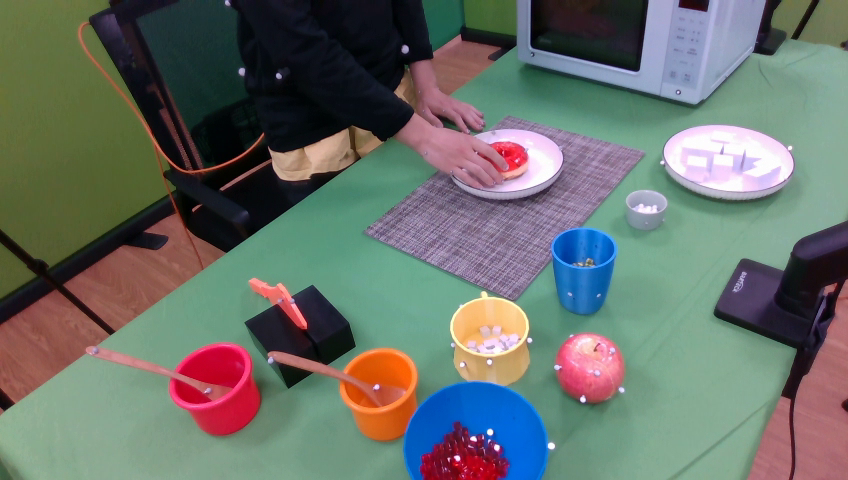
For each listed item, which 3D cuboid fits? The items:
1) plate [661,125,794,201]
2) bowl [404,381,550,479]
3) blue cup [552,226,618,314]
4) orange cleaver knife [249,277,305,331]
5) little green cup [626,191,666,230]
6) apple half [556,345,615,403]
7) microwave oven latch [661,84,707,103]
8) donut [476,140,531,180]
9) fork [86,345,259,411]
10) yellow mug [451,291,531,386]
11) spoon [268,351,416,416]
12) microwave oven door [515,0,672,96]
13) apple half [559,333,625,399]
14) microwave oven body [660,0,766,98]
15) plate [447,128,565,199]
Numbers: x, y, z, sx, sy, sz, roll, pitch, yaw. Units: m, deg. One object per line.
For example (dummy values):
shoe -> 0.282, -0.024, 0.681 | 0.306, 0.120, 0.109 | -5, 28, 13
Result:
plate -> 0.513, -0.128, 1.035 | 0.207, 0.039, 0.206 | -4, 40, 4
bowl -> 0.058, 0.235, 0.645 | 0.151, 0.077, 0.150 | -4, 39, 4
blue cup -> 0.218, 0.047, 0.826 | 0.092, 0.101, 0.092 | -6, 40, 5
orange cleaver knife -> -0.210, 0.088, 0.855 | 0.012, 0.077, 0.210 | -28, 15, -25
little green cup -> 0.352, -0.046, 0.963 | 0.061, 0.039, 0.061 | -4, 40, 4
apple half -> 0.181, 0.167, 0.709 | 0.080, 0.081, 0.033 | 29, 49, 35
microwave oven latch -> 0.517, -0.296, 1.204 | 0.078, 0.029, 0.030 | 27, 52, 35
donut -> 0.142, -0.145, 1.088 | 0.099, 0.048, 0.098 | -4, 39, 3
fork -> -0.298, 0.166, 0.728 | 0.209, 0.018, 0.028 | 28, 47, -23
yellow mug -> 0.085, 0.120, 0.786 | 0.100, 0.064, 0.130 | -7, 39, 1
spoon -> -0.090, 0.162, 0.699 | 0.021, 0.195, 0.041 | -44, 31, 27
microwave oven door -> 0.343, -0.455, 1.259 | 0.353, 0.245, 0.039 | 26, 51, 33
apple half -> 0.209, 0.147, 0.730 | 0.080, 0.075, 0.053 | 26, 48, 38
microwave oven body -> 0.472, -0.513, 1.317 | 0.438, 0.261, 0.327 | 26, 51, 34
plate -> 0.147, -0.134, 1.092 | 0.209, 0.038, 0.208 | -4, 40, 4
